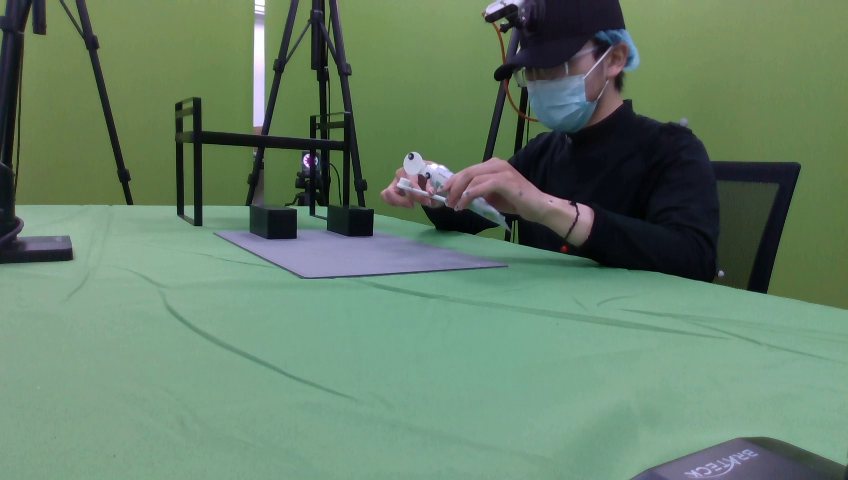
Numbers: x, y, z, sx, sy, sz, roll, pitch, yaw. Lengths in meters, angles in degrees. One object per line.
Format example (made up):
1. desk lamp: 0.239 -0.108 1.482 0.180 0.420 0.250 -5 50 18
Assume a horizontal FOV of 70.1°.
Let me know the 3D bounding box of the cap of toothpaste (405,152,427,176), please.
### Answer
1. cap of toothpaste: -0.012 -0.112 0.895 0.037 0.037 0.011 7 7 31

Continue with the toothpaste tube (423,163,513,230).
1. toothpaste tube: 0.060 -0.067 0.862 0.164 0.034 0.055 37 -1 31

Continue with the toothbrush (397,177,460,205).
1. toothbrush: 0.012 -0.077 0.995 0.014 0.016 0.183 26 8 32
